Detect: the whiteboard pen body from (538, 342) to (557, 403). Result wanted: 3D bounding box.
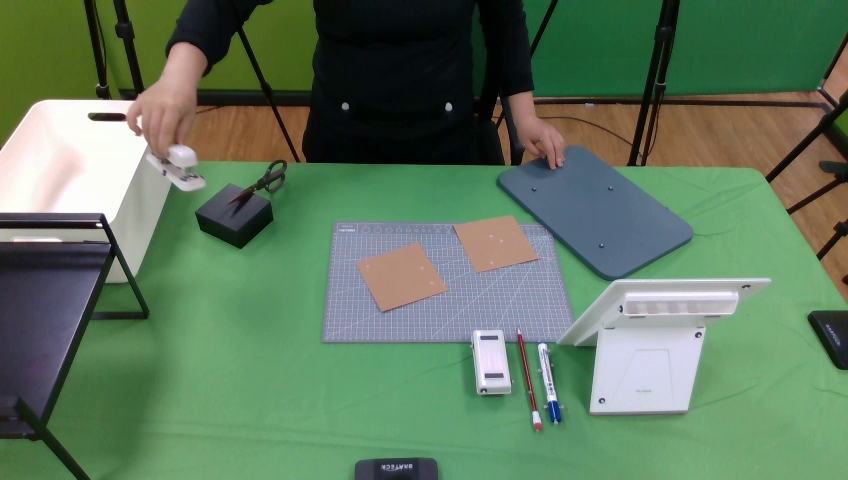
[{"bbox_3d":[0.205,0.228,0.997,0.017,0.017,0.140,1,46,-3],"label":"whiteboard pen body"}]

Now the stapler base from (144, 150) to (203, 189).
[{"bbox_3d":[-0.404,-0.122,0.976,0.130,0.024,0.041,32,40,33],"label":"stapler base"}]

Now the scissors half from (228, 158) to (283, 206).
[{"bbox_3d":[-0.338,-0.116,1.220,0.013,0.040,0.174,15,44,19],"label":"scissors half"}]

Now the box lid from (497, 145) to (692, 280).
[{"bbox_3d":[0.360,-0.073,1.304,0.263,0.015,0.369,-24,51,-25],"label":"box lid"}]

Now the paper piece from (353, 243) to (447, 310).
[{"bbox_3d":[-0.046,0.066,1.137,0.136,0.009,0.137,-13,46,-23],"label":"paper piece"}]

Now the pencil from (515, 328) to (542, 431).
[{"bbox_3d":[0.169,0.224,1.002,0.012,0.012,0.192,-2,46,-6],"label":"pencil"}]

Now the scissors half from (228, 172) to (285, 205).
[{"bbox_3d":[-0.338,-0.100,1.231,0.013,0.040,0.175,11,26,22],"label":"scissors half"}]

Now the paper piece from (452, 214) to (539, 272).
[{"bbox_3d":[0.142,0.003,1.213,0.135,0.004,0.135,-11,47,-14],"label":"paper piece"}]

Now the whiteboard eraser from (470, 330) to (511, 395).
[{"bbox_3d":[0.110,0.202,0.998,0.055,0.042,0.112,1,46,-5],"label":"whiteboard eraser"}]

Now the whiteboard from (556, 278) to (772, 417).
[{"bbox_3d":[0.347,0.174,0.903,0.217,0.306,0.143,1,65,-4],"label":"whiteboard"}]

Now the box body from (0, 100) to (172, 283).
[{"bbox_3d":[-0.639,-0.095,1.140,0.254,0.161,0.361,0,46,-4],"label":"box body"}]

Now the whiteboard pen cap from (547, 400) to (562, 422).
[{"bbox_3d":[0.205,0.269,0.956,0.018,0.018,0.033,0,47,-5],"label":"whiteboard pen cap"}]

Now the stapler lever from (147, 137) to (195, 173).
[{"bbox_3d":[-0.403,-0.143,0.962,0.117,0.040,0.027,33,40,33],"label":"stapler lever"}]
